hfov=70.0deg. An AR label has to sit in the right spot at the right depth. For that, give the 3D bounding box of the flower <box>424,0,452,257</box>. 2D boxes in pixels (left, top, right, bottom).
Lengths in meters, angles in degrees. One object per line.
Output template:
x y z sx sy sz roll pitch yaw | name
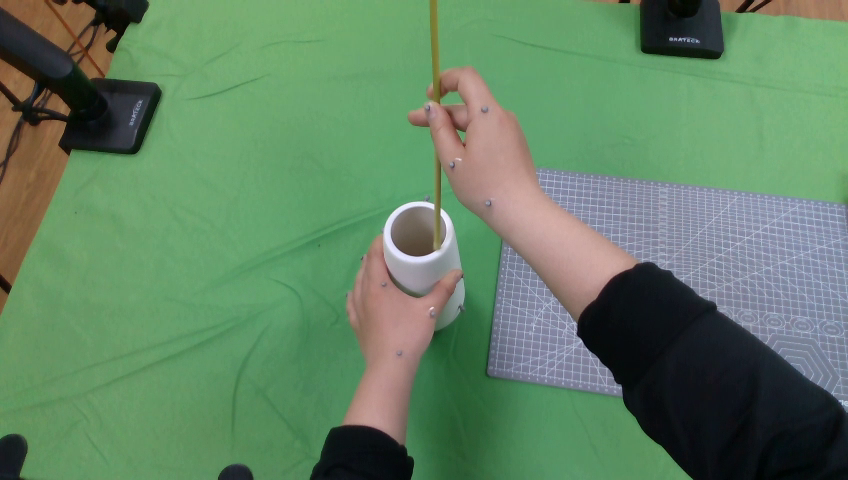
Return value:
0.008 -0.129 0.458 0.038 0.365 0.043 -17 39 -13 | flower

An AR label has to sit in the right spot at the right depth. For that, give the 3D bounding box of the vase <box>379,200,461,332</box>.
-0.004 0.033 0.677 0.098 0.201 0.097 0 65 1 | vase
